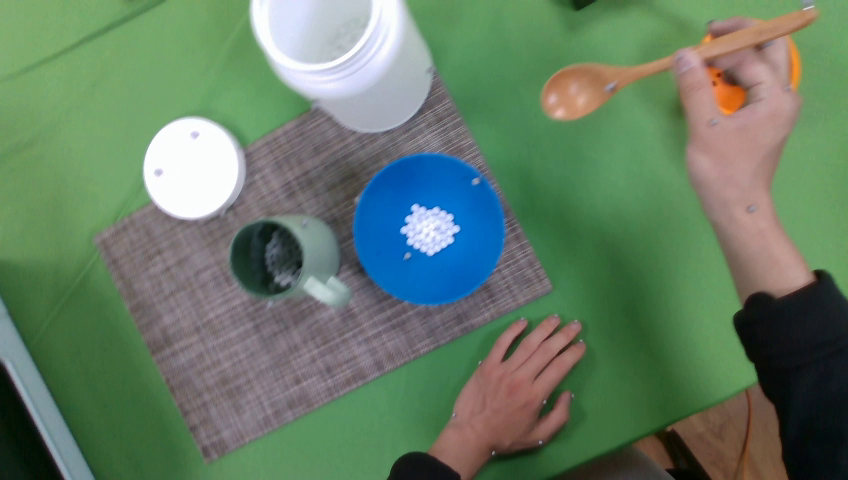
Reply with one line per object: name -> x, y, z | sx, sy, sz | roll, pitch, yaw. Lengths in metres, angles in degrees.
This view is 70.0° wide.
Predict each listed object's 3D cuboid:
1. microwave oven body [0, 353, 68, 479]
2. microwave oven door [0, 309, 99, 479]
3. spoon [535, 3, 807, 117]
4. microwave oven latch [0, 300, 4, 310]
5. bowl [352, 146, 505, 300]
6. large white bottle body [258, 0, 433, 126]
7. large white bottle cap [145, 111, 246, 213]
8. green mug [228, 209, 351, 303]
microwave oven body -> -0.584, 0.280, 0.624 | 0.326, 0.260, 0.441 | -29, 88, 7
microwave oven door -> -0.437, 0.246, 0.598 | 0.039, 0.244, 0.355 | -30, 88, 8
spoon -> 0.167, -0.128, 0.441 | 0.193, 0.021, 0.042 | -8, 113, 44
microwave oven latch -> -0.526, 0.052, 0.705 | 0.030, 0.029, 0.079 | -29, 89, 7
bowl -> 0.009, -0.017, 0.622 | 0.151, 0.077, 0.151 | 0, 92, 8
large white bottle body -> -0.068, -0.191, 0.572 | 0.130, 0.185, 0.130 | 0, 88, 10
large white bottle cap -> -0.259, -0.088, 0.687 | 0.114, 0.018, 0.115 | 0, 91, 8
green mug -> -0.130, 0.022, 0.629 | 0.125, 0.105, 0.092 | 36, 95, 5
